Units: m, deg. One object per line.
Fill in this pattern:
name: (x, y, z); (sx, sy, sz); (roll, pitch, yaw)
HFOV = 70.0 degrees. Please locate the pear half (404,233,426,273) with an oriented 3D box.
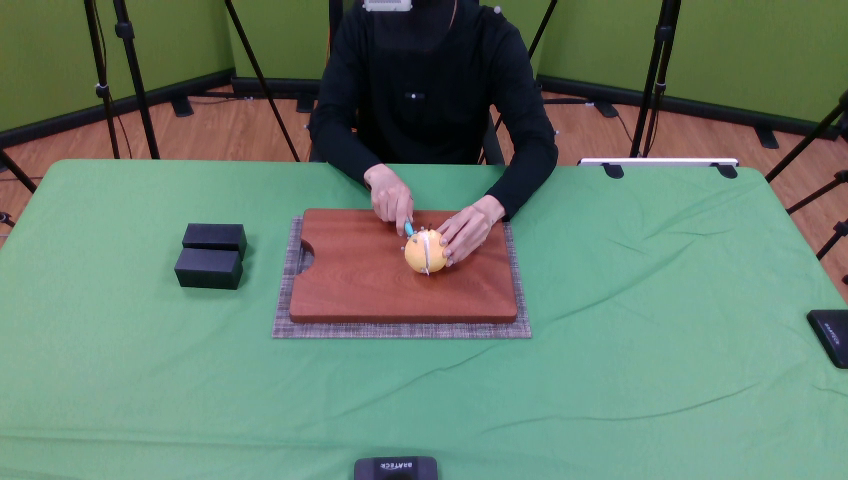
pear half: (-0.018, 0.023, 1.085); (0.031, 0.088, 0.070); (-21, 55, -14)

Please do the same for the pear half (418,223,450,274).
pear half: (0.019, 0.007, 1.090); (0.056, 0.110, 0.076); (-18, 53, -19)

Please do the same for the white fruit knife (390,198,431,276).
white fruit knife: (-0.024, -0.010, 1.131); (0.016, 0.027, 0.206); (-15, 51, -15)
